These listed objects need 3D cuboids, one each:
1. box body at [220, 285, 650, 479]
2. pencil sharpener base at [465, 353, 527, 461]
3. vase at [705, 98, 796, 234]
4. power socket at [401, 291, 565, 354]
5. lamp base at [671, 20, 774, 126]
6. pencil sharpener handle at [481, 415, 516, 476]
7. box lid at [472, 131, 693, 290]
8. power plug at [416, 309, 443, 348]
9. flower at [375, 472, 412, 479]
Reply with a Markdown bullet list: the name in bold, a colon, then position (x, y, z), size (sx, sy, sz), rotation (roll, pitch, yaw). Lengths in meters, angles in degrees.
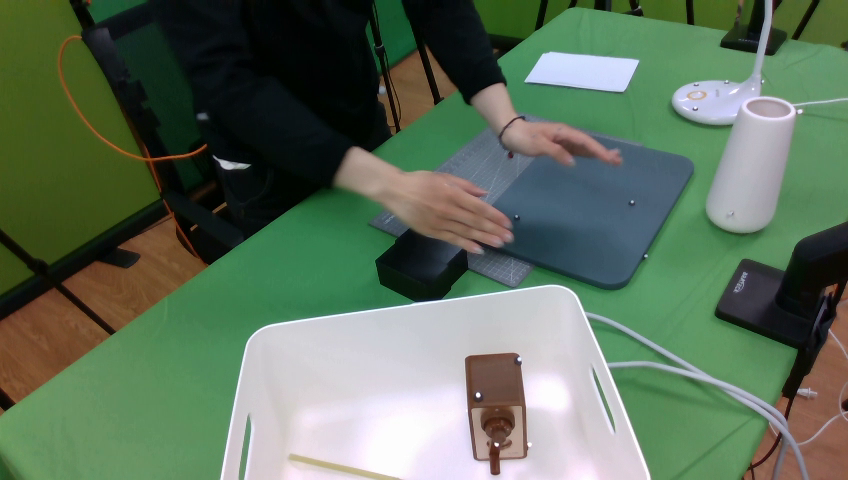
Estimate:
- **box body**: position (0.006, 0.210, 0.618), size (0.364, 0.161, 0.252), rotation (-8, 40, -1)
- **pencil sharpener base**: position (0.080, 0.188, 0.665), size (0.061, 0.107, 0.076), rotation (-4, 40, 4)
- **vase**: position (0.480, -0.104, 0.889), size (0.098, 0.201, 0.097), rotation (-4, 42, 4)
- **power socket**: position (0.079, 0.111, 0.823), size (0.227, 0.033, 0.072), rotation (-5, 41, 1)
- **lamp base**: position (0.581, -0.332, 1.154), size (0.179, 0.181, 0.160), rotation (2, 42, 7)
- **pencil sharpener handle**: position (0.076, 0.211, 0.618), size (0.036, 0.068, 0.030), rotation (0, 40, 1)
- **box lid**: position (0.273, -0.068, 1.020), size (0.261, 0.015, 0.372), rotation (20, 47, 28)
- **power plug**: position (0.004, 0.121, 0.787), size (0.035, 0.053, 0.072), rotation (2, 46, 8)
- **flower**: position (0.017, 0.270, 0.655), size (0.360, 0.038, 0.044), rotation (3, 17, 21)
